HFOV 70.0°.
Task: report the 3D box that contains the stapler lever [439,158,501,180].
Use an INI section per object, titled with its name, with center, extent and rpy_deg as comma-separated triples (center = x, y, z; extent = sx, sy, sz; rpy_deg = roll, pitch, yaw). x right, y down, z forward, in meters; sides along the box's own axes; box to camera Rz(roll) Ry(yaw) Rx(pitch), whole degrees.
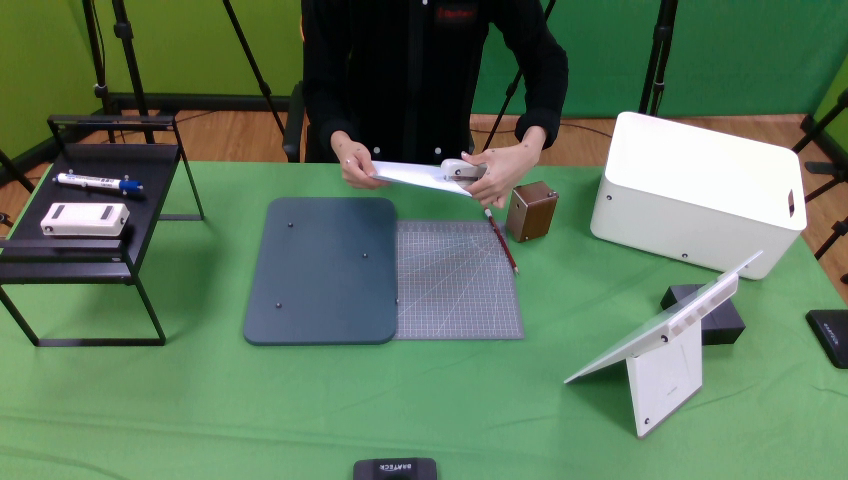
[stapler lever]
center = 0.082, -0.126, 1.068
extent = 0.118, 0.040, 0.026
rpy_deg = -9, 34, -27

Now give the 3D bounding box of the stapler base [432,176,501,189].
[stapler base]
center = 0.078, -0.109, 1.075
extent = 0.131, 0.024, 0.041
rpy_deg = -3, 31, -30

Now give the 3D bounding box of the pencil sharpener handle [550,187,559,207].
[pencil sharpener handle]
center = 0.261, -0.084, 1.221
extent = 0.031, 0.068, 0.036
rpy_deg = -16, 65, -19

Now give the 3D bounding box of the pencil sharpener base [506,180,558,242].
[pencil sharpener base]
center = 0.216, -0.059, 1.211
extent = 0.077, 0.107, 0.061
rpy_deg = -16, 49, -19

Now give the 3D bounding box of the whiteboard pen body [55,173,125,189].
[whiteboard pen body]
center = -0.539, -0.095, 0.998
extent = 0.141, 0.017, 0.017
rpy_deg = 6, 46, 6

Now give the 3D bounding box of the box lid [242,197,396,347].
[box lid]
center = -0.186, 0.046, 1.147
extent = 0.263, 0.015, 0.369
rpy_deg = 0, 46, -3

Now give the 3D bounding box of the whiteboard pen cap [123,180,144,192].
[whiteboard pen cap]
center = -0.479, -0.089, 0.993
extent = 0.033, 0.018, 0.018
rpy_deg = 7, 46, 14

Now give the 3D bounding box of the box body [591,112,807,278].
[box body]
center = 0.540, -0.092, 1.229
extent = 0.363, 0.161, 0.253
rpy_deg = 16, 47, 11

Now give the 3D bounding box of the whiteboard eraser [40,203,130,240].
[whiteboard eraser]
center = -0.513, -0.028, 0.922
extent = 0.113, 0.042, 0.055
rpy_deg = 1, 48, -3

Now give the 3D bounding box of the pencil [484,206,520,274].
[pencil]
center = 0.157, -0.003, 1.217
extent = 0.012, 0.012, 0.192
rpy_deg = -10, 47, -13

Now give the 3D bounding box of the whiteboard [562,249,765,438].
[whiteboard]
center = 0.386, 0.175, 0.905
extent = 0.217, 0.306, 0.143
rpy_deg = -26, 72, -26
